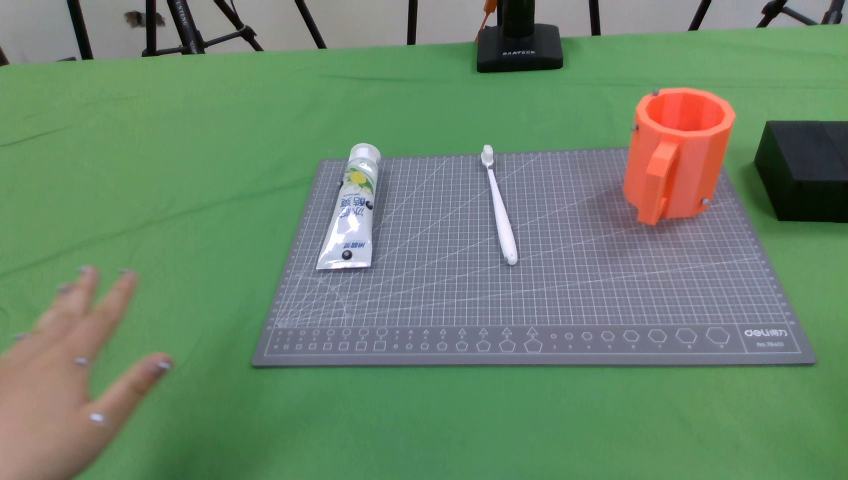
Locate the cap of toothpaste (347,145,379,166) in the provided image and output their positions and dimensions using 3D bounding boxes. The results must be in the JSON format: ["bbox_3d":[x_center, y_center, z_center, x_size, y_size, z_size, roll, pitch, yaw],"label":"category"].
[{"bbox_3d":[-0.069,-0.092,0.684,0.037,0.038,0.011,-1,47,6],"label":"cap of toothpaste"}]

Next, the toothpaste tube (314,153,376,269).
[{"bbox_3d":[-0.076,-0.034,0.632,0.055,0.035,0.163,-6,46,10],"label":"toothpaste tube"}]

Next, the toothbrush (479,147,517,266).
[{"bbox_3d":[0.076,-0.040,0.626,0.014,0.017,0.180,6,43,-11],"label":"toothbrush"}]

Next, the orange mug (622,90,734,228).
[{"bbox_3d":[0.235,-0.073,0.580,0.083,0.102,0.126,19,44,26],"label":"orange mug"}]
